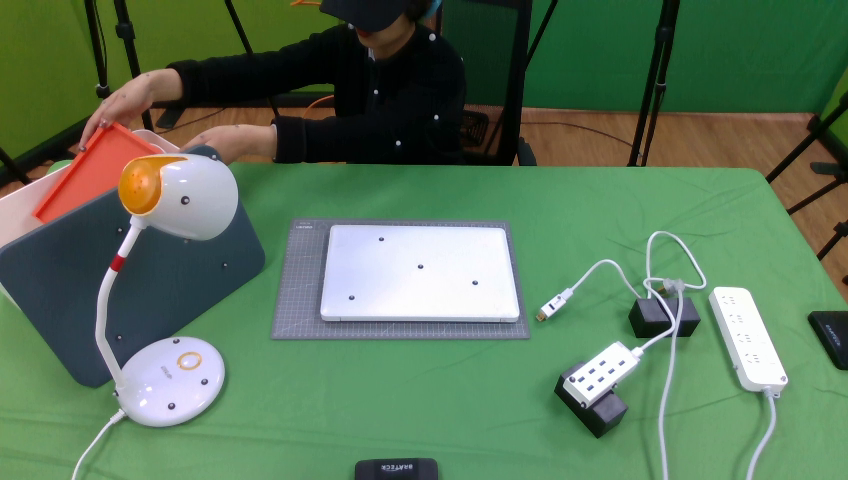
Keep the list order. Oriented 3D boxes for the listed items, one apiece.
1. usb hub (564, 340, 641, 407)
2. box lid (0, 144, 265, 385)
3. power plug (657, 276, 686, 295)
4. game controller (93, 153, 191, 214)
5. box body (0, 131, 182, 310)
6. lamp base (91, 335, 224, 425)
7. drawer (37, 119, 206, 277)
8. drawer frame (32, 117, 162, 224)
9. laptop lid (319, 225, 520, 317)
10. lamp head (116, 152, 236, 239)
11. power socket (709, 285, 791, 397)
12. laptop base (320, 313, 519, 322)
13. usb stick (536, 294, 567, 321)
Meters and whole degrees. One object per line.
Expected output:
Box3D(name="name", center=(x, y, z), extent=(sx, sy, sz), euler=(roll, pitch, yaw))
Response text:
Box3D(name="usb hub", center=(0.278, 0.205, 0.944), extent=(0.125, 0.025, 0.049), euler=(-27, 52, -28))
Box3D(name="box lid", center=(-0.440, 0.033, 0.977), extent=(0.015, 0.264, 0.371), euler=(16, 43, 40))
Box3D(name="power plug", center=(0.450, 0.087, 1.113), extent=(0.073, 0.052, 0.035), euler=(-13, 72, -55))
Box3D(name="game controller", center=(-0.501, -0.108, 1.068), extent=(0.155, 0.052, 0.097), euler=(27, 50, 11))
Box3D(name="box body", center=(-0.550, -0.007, 1.068), extent=(0.253, 0.161, 0.363), euler=(30, 51, 23))
Box3D(name="lamp base", center=(-0.401, 0.171, 0.892), extent=(0.160, 0.181, 0.179), euler=(30, 53, 23))
Box3D(name="drawer", center=(-0.520, -0.073, 1.046), extent=(0.194, 0.073, 0.211), euler=(31, 79, 15))
Box3D(name="drawer frame", center=(-0.521, -0.073, 1.046), extent=(0.201, 0.083, 0.213), euler=(30, 81, 16))
Box3D(name="laptop lid", center=(-0.008, 0.052, 1.131), extent=(0.357, 0.013, 0.240), euler=(2, 43, -2))
Box3D(name="lamp head", center=(-0.315, -0.057, 0.748), extent=(0.112, 0.112, 0.123), euler=(26, 10, 20))
Box3D(name="power socket", center=(0.568, 0.168, 1.064), extent=(0.072, 0.033, 0.225), euler=(2, 46, 0))
Box3D(name="laptop base", center=(-0.009, 0.061, 1.138), extent=(0.354, 0.023, 0.234), euler=(1, 42, -3))
Box3D(name="usb stick", center=(0.226, 0.122, 1.083), extent=(0.059, 0.027, 0.021), euler=(-37, 77, -8))
